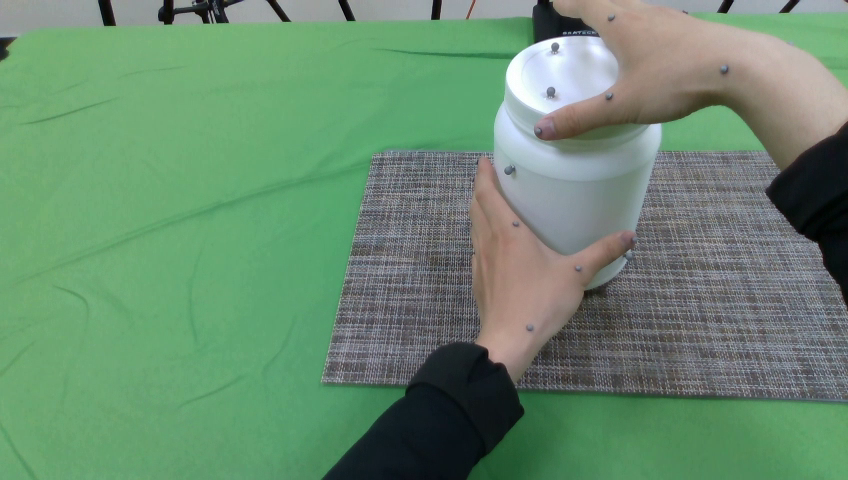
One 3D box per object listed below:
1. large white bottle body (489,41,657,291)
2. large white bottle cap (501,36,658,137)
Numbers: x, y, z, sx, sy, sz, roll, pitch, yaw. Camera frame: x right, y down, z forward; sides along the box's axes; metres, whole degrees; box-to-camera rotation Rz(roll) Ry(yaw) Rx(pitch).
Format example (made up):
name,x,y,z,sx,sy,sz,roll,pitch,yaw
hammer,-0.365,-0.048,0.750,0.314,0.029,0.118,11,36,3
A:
name,x,y,z,sx,sy,sz,roll,pitch,yaw
large white bottle body,0.121,-0.059,0.516,0.130,0.186,0.129,-2,47,3
large white bottle cap,0.115,-0.118,0.455,0.115,0.018,0.113,-2,47,2
